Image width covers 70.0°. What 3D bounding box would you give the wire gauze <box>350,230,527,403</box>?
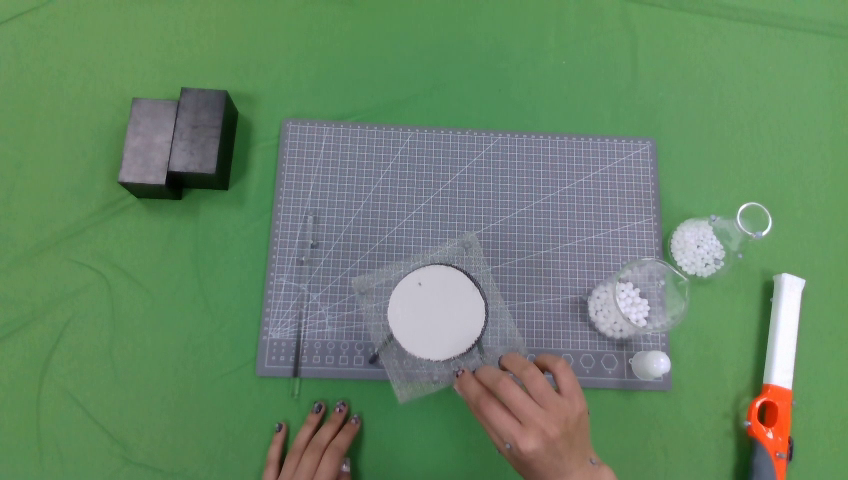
[{"bbox_3d":[0.012,0.066,0.537,0.125,0.011,0.121,-21,78,-7],"label":"wire gauze"}]

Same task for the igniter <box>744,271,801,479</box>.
[{"bbox_3d":[0.379,0.167,0.659,0.057,0.025,0.275,18,75,-9],"label":"igniter"}]

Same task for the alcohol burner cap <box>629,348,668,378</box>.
[{"bbox_3d":[0.244,0.130,0.650,0.034,0.048,0.033,1,75,-3],"label":"alcohol burner cap"}]

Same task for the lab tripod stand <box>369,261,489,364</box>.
[{"bbox_3d":[0.008,0.082,0.603,0.148,0.132,0.147,1,77,-2],"label":"lab tripod stand"}]

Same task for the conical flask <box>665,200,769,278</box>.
[{"bbox_3d":[0.318,-0.007,0.651,0.075,0.122,0.075,1,75,-2],"label":"conical flask"}]

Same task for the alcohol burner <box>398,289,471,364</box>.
[{"bbox_3d":[0.011,0.085,0.612,0.078,0.119,0.077,0,74,-1],"label":"alcohol burner"}]

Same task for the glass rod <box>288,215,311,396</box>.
[{"bbox_3d":[-0.135,0.068,0.663,0.008,0.008,0.199,4,78,-2],"label":"glass rod"}]

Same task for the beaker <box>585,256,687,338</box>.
[{"bbox_3d":[0.219,0.063,0.636,0.084,0.100,0.073,-21,77,-8],"label":"beaker"}]
